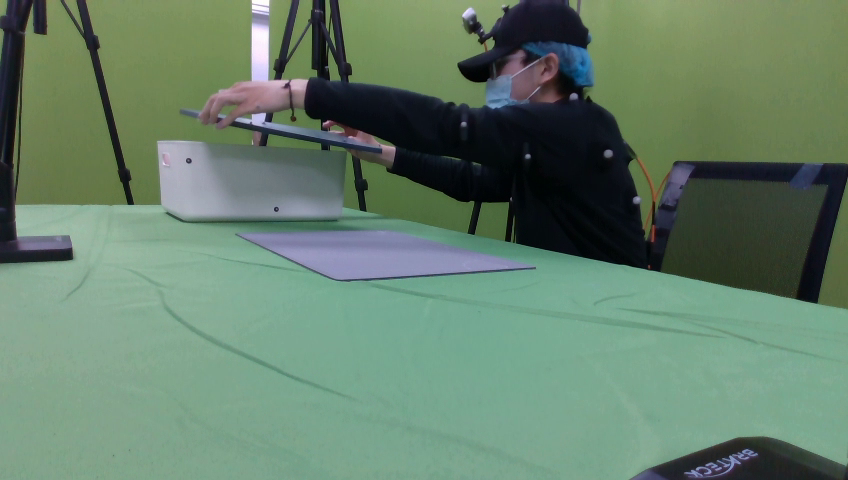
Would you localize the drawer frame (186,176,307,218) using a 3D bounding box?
[{"bbox_3d":[-0.398,-0.098,1.347,0.203,0.082,0.212,-3,8,-37],"label":"drawer frame"}]

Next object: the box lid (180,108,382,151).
[{"bbox_3d":[-0.296,-0.231,1.278,0.374,0.015,0.262,3,14,-37],"label":"box lid"}]

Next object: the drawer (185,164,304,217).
[{"bbox_3d":[-0.403,-0.107,1.354,0.195,0.073,0.211,-10,-3,-38],"label":"drawer"}]

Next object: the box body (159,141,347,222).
[{"bbox_3d":[-0.384,-0.133,1.359,0.366,0.160,0.253,-2,9,-33],"label":"box body"}]

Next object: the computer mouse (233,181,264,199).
[{"bbox_3d":[-0.357,-0.103,1.270,0.062,0.041,0.117,1,0,18],"label":"computer mouse"}]
